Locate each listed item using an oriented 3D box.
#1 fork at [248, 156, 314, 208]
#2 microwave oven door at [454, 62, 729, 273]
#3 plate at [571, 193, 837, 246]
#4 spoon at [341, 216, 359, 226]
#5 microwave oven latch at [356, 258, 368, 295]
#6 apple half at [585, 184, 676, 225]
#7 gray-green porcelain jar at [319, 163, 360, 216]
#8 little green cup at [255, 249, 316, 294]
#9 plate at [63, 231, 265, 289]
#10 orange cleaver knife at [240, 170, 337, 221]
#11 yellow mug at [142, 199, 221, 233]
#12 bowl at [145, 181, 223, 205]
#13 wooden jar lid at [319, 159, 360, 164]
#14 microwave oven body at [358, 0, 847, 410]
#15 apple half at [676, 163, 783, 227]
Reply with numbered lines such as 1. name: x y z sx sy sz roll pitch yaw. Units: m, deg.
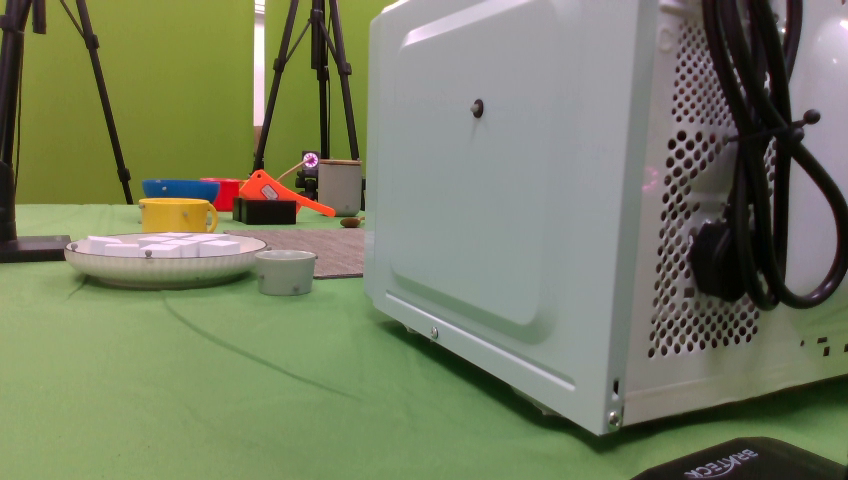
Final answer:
1. fork: -0.360 -0.147 1.523 0.207 0.019 0.028 -43 18 -6
2. microwave oven door: 0.198 -0.098 0.799 0.354 0.243 0.039 7 10 37
3. plate: 0.235 -0.020 0.527 0.209 0.038 0.209 2 5 0
4. spoon: -0.132 -0.047 1.305 0.041 0.021 0.194 -13 4 14
5. microwave oven latch: -0.019 0.031 0.529 0.079 0.029 0.030 -1 7 -26
6. apple half: 0.193 -0.035 0.557 0.081 0.033 0.081 3 13 0
7. gray-green porcelain jar: -0.204 -0.126 1.490 0.106 0.126 0.106 2 8 0
8. little green cup: -0.144 0.032 0.627 0.061 0.038 0.061 4 7 0
9. plate: -0.288 0.021 0.687 0.208 0.039 0.207 2 8 0
10. orange cleaver knife: -0.287 -0.081 1.299 0.212 0.077 0.012 25 -2 -31
11. yellow mug: -0.373 -0.030 0.948 0.099 0.064 0.131 6 8 30
12. bowl: -0.499 -0.081 1.261 0.151 0.077 0.151 2 8 0
13. wooden jar lid: -0.203 -0.189 1.482 0.108 0.020 0.108 2 10 0
14. microwave oven body: 0.210 -0.051 0.471 0.444 0.260 0.324 -1 7 -28
15. apple half: 0.268 -0.039 0.528 0.075 0.053 0.080 6 -3 -17
